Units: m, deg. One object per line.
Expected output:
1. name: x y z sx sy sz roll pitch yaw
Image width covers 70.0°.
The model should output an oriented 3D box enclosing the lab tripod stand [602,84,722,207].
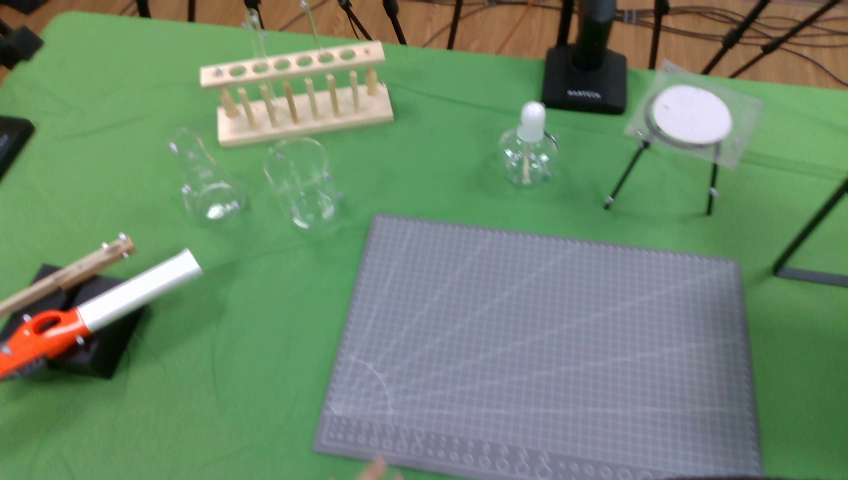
1. lab tripod stand: 0.296 -0.109 0.736 0.148 0.132 0.147 0 57 0

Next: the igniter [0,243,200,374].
1. igniter: -0.374 0.082 0.642 0.276 0.025 0.057 -31 64 -20

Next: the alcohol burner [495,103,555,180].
1. alcohol burner: 0.130 -0.131 0.766 0.078 0.120 0.077 0 57 0

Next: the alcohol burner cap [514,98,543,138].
1. alcohol burner cap: 0.128 -0.152 0.736 0.034 0.048 0.033 0 57 1

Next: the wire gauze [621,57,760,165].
1. wire gauze: 0.301 -0.146 0.679 0.121 0.011 0.124 28 64 15

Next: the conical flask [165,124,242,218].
1. conical flask: -0.276 -0.088 0.744 0.075 0.123 0.074 -1 58 2

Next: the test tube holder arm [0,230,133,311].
1. test tube holder arm: -0.411 0.039 0.672 0.178 0.015 0.013 -31 62 -17

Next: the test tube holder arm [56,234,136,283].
1. test tube holder arm: -0.370 0.021 0.683 0.088 0.015 0.010 -30 62 -17

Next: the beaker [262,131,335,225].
1. beaker: -0.151 -0.069 0.743 0.073 0.101 0.083 21 62 15

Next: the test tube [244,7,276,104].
1. test tube: -0.214 -0.238 0.798 0.017 0.151 0.017 2 56 -2

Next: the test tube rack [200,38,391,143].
1. test tube rack: -0.173 -0.205 0.835 0.242 0.086 0.066 -10 58 -5

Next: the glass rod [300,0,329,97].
1. glass rod: -0.146 -0.267 0.794 0.008 0.201 0.008 -4 51 5
